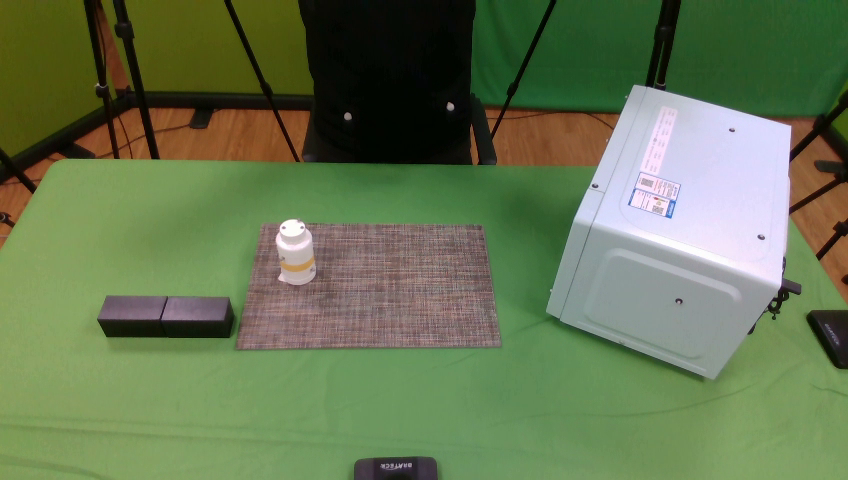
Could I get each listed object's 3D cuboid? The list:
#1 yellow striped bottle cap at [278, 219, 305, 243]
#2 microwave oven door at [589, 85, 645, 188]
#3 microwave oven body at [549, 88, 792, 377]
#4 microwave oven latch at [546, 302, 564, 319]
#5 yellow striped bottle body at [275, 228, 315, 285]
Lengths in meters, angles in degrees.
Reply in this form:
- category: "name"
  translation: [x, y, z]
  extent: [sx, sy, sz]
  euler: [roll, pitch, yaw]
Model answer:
- category: "yellow striped bottle cap"
  translation: [-0.229, -0.016, 1.047]
  extent: [0.044, 0.019, 0.044]
  euler: [3, 44, -3]
- category: "microwave oven door"
  translation: [0.342, -0.108, 1.149]
  extent: [0.039, 0.245, 0.354]
  euler: [20, 48, 15]
- category: "microwave oven body"
  translation: [0.456, -0.028, 1.088]
  extent: [0.325, 0.261, 0.440]
  euler: [20, 47, 16]
- category: "microwave oven latch"
  translation: [0.242, 0.102, 1.081]
  extent: [0.030, 0.029, 0.079]
  euler: [22, 48, 17]
- category: "yellow striped bottle body"
  translation: [-0.231, 0.021, 1.085]
  extent: [0.063, 0.121, 0.062]
  euler: [2, 46, -2]
